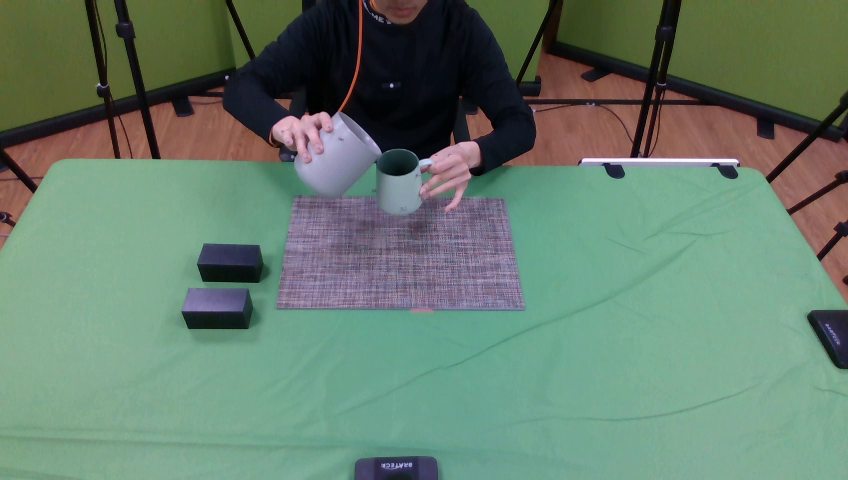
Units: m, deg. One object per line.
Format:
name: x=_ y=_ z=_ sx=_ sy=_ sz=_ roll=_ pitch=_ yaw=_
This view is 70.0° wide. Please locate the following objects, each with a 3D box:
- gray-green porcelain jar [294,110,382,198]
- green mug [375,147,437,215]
gray-green porcelain jar: x=-0.154 y=-0.145 z=1.058 sx=0.126 sy=0.106 sz=0.105 roll=-43 pitch=52 yaw=12
green mug: x=-0.033 y=-0.115 z=1.148 sx=0.125 sy=0.105 sz=0.092 roll=-21 pitch=51 yaw=-17
